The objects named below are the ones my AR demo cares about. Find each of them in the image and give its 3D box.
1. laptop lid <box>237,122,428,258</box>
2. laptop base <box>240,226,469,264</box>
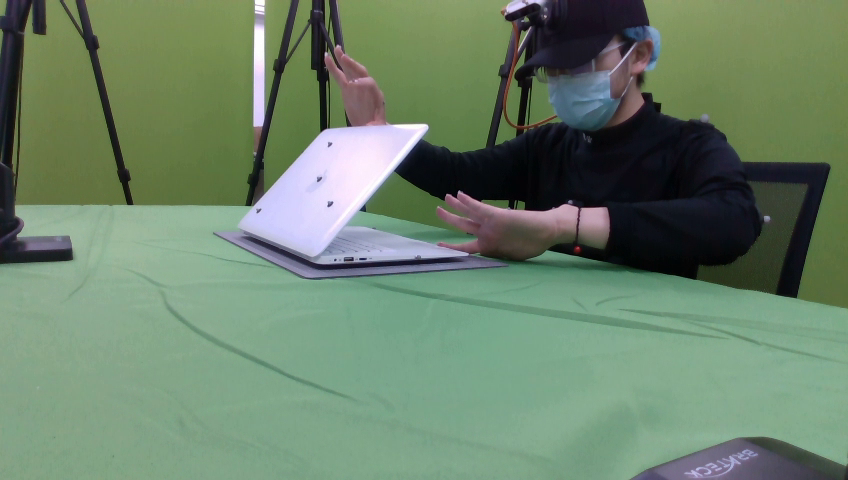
[{"bbox_3d":[-0.154,-0.089,0.902,0.013,0.242,0.355,47,-16,-29],"label":"laptop lid"},{"bbox_3d":[-0.124,0.004,0.936,0.237,0.023,0.352,2,7,-33],"label":"laptop base"}]
